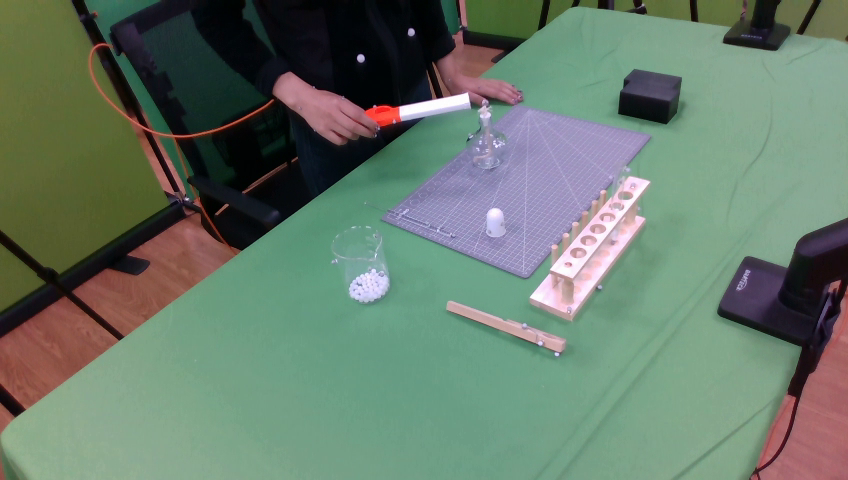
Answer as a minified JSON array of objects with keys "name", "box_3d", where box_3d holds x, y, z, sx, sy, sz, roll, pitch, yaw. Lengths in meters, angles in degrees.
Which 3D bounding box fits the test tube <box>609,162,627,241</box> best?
[{"name":"test tube","box_3d":[0.277,-0.051,0.864,0.017,0.151,0.017,-6,47,7]}]

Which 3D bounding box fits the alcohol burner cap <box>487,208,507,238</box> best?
[{"name":"alcohol burner cap","box_3d":[0.116,-0.030,0.975,0.034,0.048,0.033,-6,40,5]}]

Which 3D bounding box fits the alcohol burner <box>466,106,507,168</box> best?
[{"name":"alcohol burner","box_3d":[0.114,-0.193,1.112,0.078,0.119,0.077,-4,41,4]}]

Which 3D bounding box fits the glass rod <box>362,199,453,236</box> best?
[{"name":"glass rod","box_3d":[-0.031,-0.041,1.041,0.198,0.008,0.008,22,50,31]}]

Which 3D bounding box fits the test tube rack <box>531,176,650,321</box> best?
[{"name":"test tube rack","box_3d":[0.246,0.002,0.884,0.066,0.085,0.243,22,49,32]}]

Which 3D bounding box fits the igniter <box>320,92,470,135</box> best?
[{"name":"igniter","box_3d":[-0.055,-0.228,1.092,0.276,0.025,0.057,-9,48,7]}]

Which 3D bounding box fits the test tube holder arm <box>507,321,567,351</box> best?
[{"name":"test tube holder arm","box_3d":[0.148,0.128,0.808,0.087,0.015,0.010,16,11,28]}]

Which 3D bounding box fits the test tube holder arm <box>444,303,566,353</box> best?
[{"name":"test tube holder arm","box_3d":[0.107,0.117,0.823,0.177,0.015,0.013,16,10,27]}]

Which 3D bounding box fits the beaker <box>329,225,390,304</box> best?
[{"name":"beaker","box_3d":[-0.089,0.040,0.890,0.074,0.101,0.083,-32,45,-24]}]
